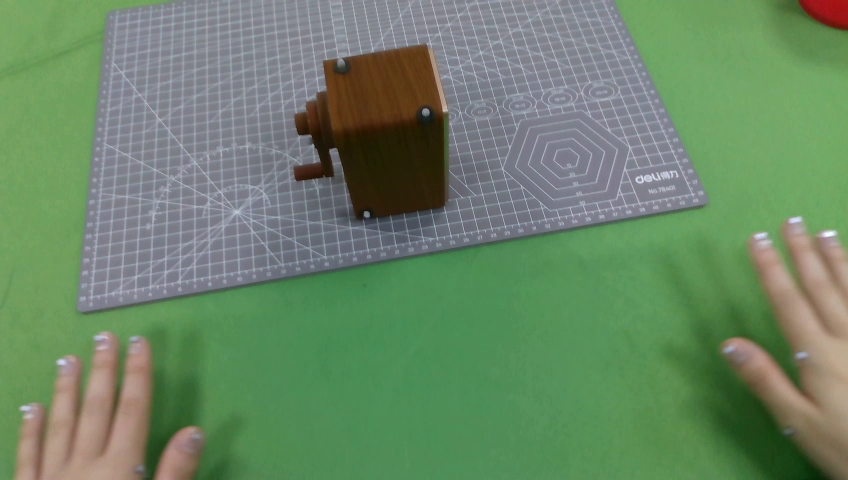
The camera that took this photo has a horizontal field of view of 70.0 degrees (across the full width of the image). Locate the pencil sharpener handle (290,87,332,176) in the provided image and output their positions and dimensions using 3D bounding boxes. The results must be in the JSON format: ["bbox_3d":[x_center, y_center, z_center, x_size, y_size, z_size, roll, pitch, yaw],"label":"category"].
[{"bbox_3d":[-0.077,-0.066,0.392,0.031,0.068,0.035,-10,56,-3],"label":"pencil sharpener handle"}]

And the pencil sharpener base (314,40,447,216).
[{"bbox_3d":[-0.027,-0.070,0.407,0.077,0.108,0.061,-10,62,-3],"label":"pencil sharpener base"}]

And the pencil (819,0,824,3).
[{"bbox_3d":[0.402,-0.268,0.482,0.194,0.012,0.012,-46,63,24],"label":"pencil"}]
